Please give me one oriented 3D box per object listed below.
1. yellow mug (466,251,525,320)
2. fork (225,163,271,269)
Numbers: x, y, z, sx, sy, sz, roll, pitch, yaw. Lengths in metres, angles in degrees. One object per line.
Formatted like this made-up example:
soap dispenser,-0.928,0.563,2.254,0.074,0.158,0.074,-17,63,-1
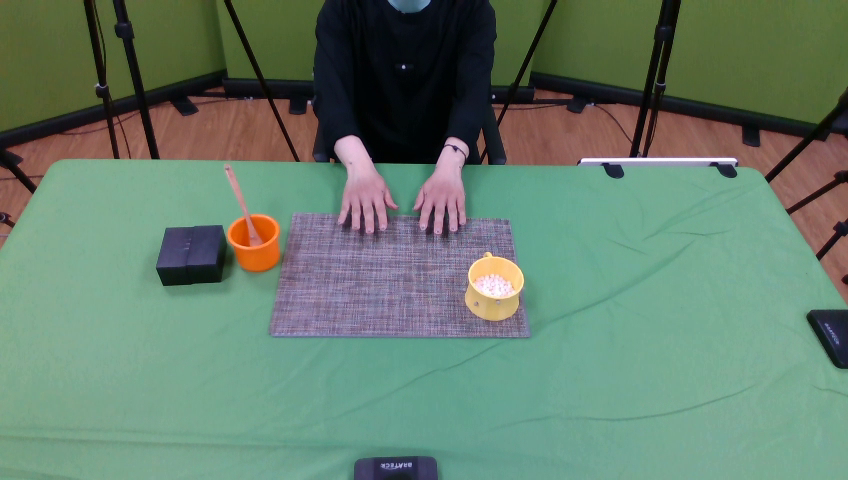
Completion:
yellow mug,0.125,0.074,1.096,0.100,0.064,0.130,-4,45,-7
fork,-0.331,-0.045,1.127,0.028,0.018,0.207,-21,94,-23
